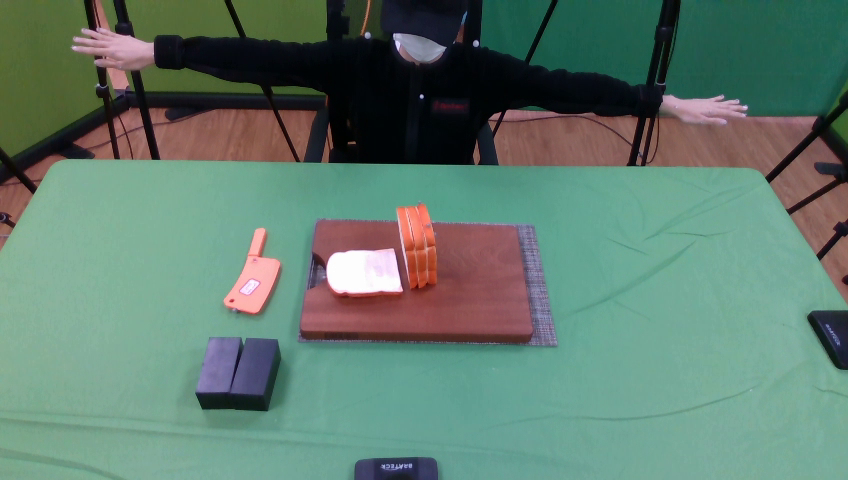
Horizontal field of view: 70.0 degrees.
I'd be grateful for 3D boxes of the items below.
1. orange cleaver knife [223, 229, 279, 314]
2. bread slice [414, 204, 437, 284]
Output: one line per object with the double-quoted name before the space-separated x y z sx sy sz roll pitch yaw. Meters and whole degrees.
"orange cleaver knife" -0.311 0.055 1.125 0.077 0.012 0.210 3 44 2
"bread slice" 0.003 0.004 1.077 0.018 0.135 0.106 -12 54 -7
